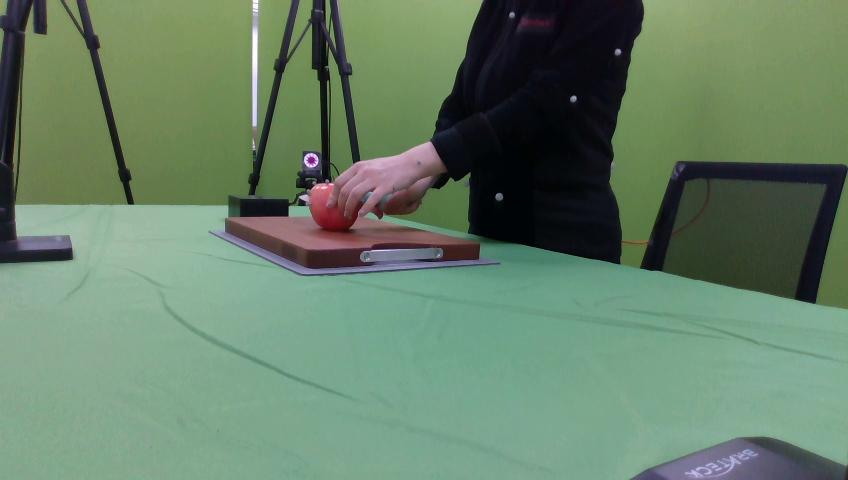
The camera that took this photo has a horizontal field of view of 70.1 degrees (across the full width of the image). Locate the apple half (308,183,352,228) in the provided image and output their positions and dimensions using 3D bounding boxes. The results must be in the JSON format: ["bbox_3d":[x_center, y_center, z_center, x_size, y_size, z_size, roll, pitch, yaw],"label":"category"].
[{"bbox_3d":[-0.158,-0.057,0.981,0.082,0.081,0.032,-3,8,-34],"label":"apple half"}]

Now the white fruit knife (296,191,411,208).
[{"bbox_3d":[-0.110,-0.068,0.993,0.208,0.027,0.016,-1,4,-34],"label":"white fruit knife"}]

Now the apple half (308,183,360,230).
[{"bbox_3d":[-0.136,-0.052,0.949,0.081,0.074,0.053,2,11,-35],"label":"apple half"}]
